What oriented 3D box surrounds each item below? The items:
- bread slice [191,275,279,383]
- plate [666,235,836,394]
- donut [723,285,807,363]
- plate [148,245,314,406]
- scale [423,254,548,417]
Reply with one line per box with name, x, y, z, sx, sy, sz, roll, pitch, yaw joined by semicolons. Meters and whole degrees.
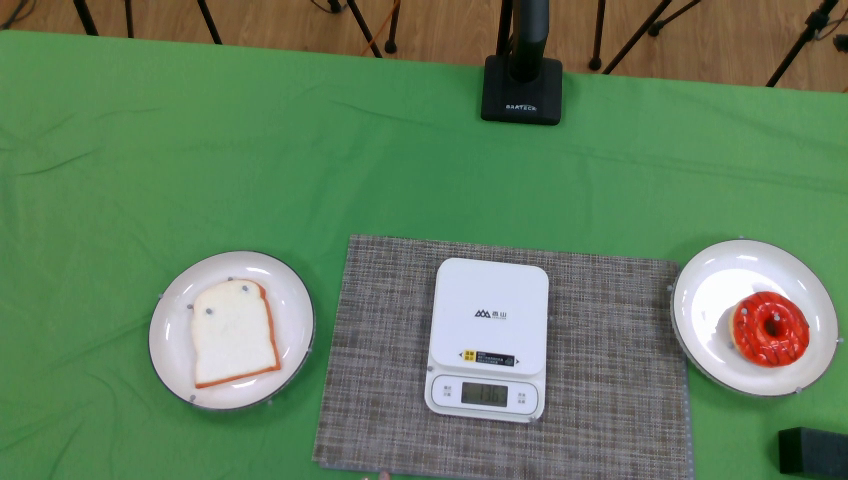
bread slice;-0.250;0.110;0.782;0.105;0.019;0.130;-14;68;-5
plate;0.413;0.096;0.780;0.208;0.039;0.206;0;68;0
donut;0.429;0.107;0.763;0.099;0.048;0.098;0;72;-1
plate;-0.244;0.109;0.781;0.209;0.038;0.207;0;69;1
scale;0.081;0.118;0.774;0.148;0.032;0.199;5;69;3
